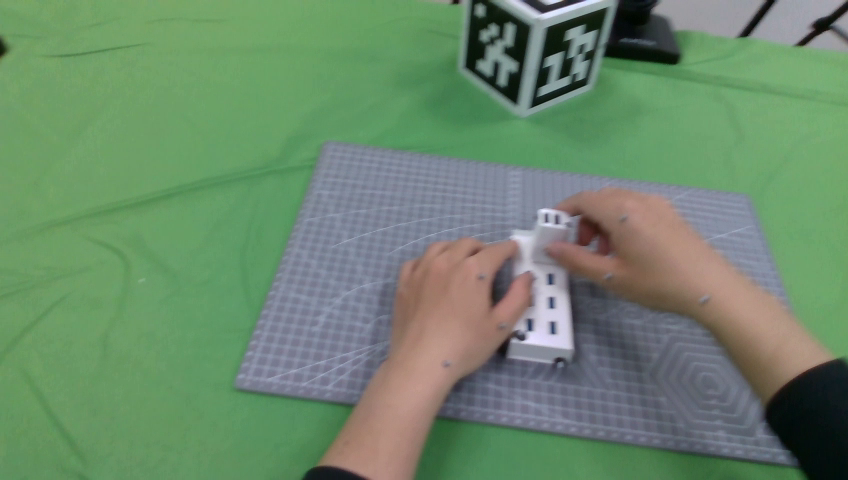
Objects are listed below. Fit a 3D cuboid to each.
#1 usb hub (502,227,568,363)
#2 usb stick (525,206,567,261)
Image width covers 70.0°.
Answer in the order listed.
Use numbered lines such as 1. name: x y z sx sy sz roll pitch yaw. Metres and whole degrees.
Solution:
1. usb hub: 0.092 0.042 0.511 0.049 0.025 0.124 8 47 0
2. usb stick: 0.101 0.000 0.510 0.027 0.059 0.021 5 48 1
